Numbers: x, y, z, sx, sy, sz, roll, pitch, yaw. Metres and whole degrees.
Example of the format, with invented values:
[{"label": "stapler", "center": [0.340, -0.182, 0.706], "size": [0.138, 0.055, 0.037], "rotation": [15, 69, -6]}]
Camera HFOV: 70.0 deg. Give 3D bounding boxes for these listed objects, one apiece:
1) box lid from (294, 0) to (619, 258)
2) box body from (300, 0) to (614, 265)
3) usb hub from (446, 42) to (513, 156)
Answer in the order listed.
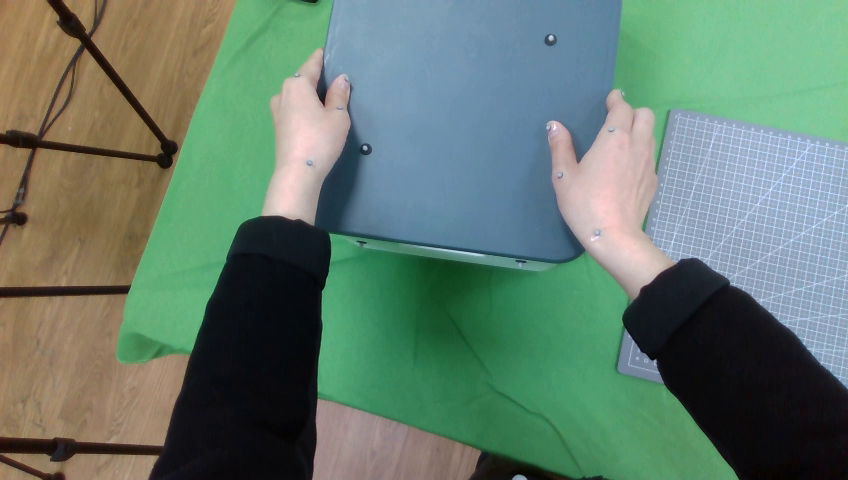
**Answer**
[{"label": "box lid", "center": [0.037, -0.176, 0.548], "size": [0.263, 0.015, 0.370], "rotation": [8, 83, 6]}, {"label": "box body", "center": [0.044, -0.165, 0.620], "size": [0.254, 0.161, 0.363], "rotation": [8, 82, 5]}, {"label": "usb hub", "center": [0.062, -0.157, 0.674], "size": [0.049, 0.025, 0.124], "rotation": [13, 77, 9]}]
